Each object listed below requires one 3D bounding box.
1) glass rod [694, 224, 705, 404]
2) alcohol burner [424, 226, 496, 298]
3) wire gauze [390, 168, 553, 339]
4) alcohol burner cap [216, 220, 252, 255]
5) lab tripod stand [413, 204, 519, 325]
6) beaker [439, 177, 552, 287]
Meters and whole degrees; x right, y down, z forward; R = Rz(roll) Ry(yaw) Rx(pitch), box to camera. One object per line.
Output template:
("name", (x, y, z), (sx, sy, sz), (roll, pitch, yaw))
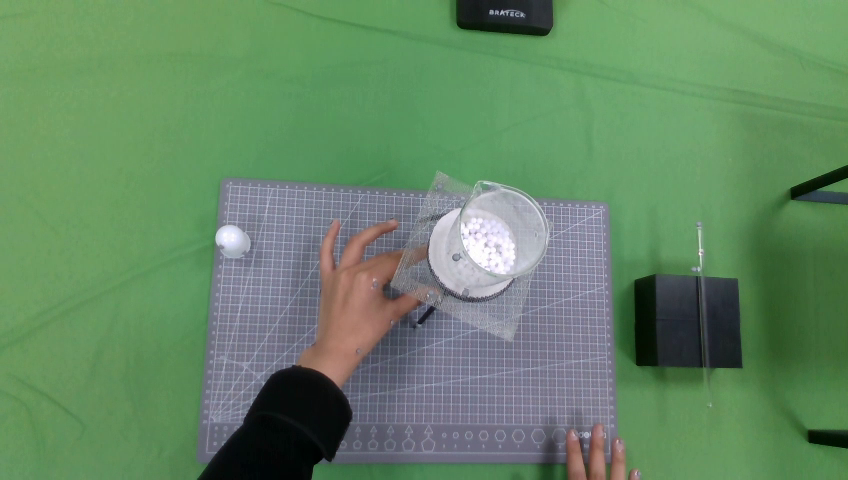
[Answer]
("glass rod", (0.305, 0.080, 0.671), (0.008, 0.008, 0.199), (5, 80, -8))
("alcohol burner", (0.042, 0.021, 0.633), (0.078, 0.119, 0.077), (2, 79, -10))
("wire gauze", (0.045, 0.011, 0.559), (0.125, 0.011, 0.121), (25, 78, -6))
("alcohol burner cap", (-0.201, -0.004, 0.637), (0.034, 0.048, 0.033), (1, 79, -7))
("lab tripod stand", (0.040, 0.021, 0.623), (0.149, 0.132, 0.147), (2, 77, -9))
("beaker", (0.053, -0.002, 0.512), (0.074, 0.100, 0.083), (-21, 83, -13))
